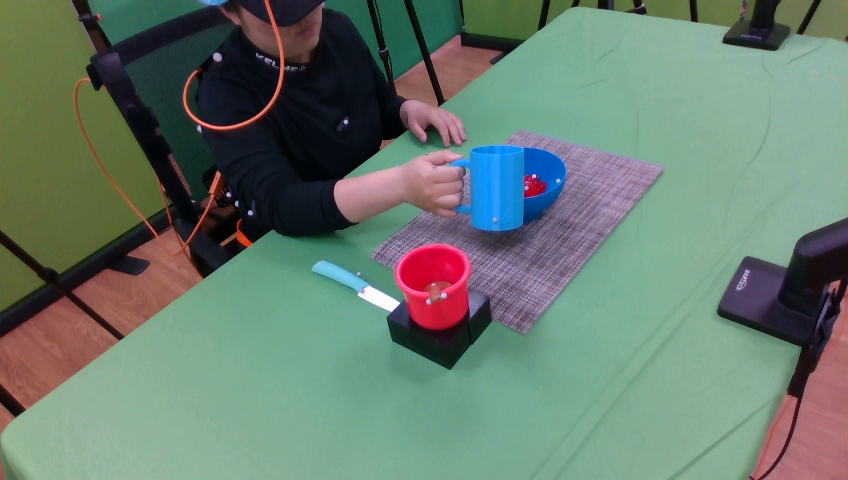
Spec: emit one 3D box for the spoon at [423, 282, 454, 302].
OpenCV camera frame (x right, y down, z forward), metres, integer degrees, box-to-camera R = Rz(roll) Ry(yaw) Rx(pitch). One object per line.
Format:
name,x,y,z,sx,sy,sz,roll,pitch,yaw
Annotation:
spoon,0.015,0.062,0.733,0.041,0.021,0.194,-5,-4,3

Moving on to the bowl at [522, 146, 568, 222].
bowl,0.161,-0.083,1.000,0.151,0.077,0.150,-5,40,5

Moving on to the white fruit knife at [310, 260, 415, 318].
white fruit knife,-0.094,0.074,0.920,0.206,0.016,0.027,24,77,31

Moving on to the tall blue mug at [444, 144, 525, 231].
tall blue mug,0.088,-0.073,0.846,0.107,0.108,0.077,-6,20,-11
